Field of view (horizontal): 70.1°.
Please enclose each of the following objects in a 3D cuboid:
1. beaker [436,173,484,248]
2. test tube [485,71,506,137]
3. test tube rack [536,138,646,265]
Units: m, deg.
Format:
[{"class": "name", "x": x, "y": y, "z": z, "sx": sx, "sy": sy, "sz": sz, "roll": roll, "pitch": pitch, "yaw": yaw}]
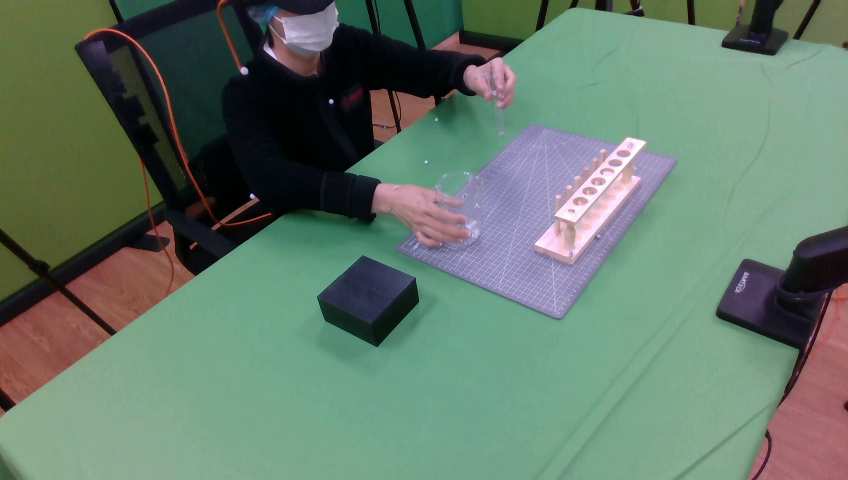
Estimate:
[{"class": "beaker", "x": 0.058, "y": -0.045, "z": 0.949, "sx": 0.073, "sy": 0.100, "sz": 0.084, "roll": 18, "pitch": 43, "yaw": 22}, {"class": "test tube", "x": 0.125, "y": -0.231, "z": 1.045, "sx": 0.017, "sy": 0.151, "sz": 0.017, "roll": -7, "pitch": 56, "yaw": 11}, {"class": "test tube rack", "x": 0.268, "y": -0.071, "z": 0.964, "sx": 0.066, "sy": 0.085, "sz": 0.243, "roll": 23, "pitch": 49, "yaw": 32}]
